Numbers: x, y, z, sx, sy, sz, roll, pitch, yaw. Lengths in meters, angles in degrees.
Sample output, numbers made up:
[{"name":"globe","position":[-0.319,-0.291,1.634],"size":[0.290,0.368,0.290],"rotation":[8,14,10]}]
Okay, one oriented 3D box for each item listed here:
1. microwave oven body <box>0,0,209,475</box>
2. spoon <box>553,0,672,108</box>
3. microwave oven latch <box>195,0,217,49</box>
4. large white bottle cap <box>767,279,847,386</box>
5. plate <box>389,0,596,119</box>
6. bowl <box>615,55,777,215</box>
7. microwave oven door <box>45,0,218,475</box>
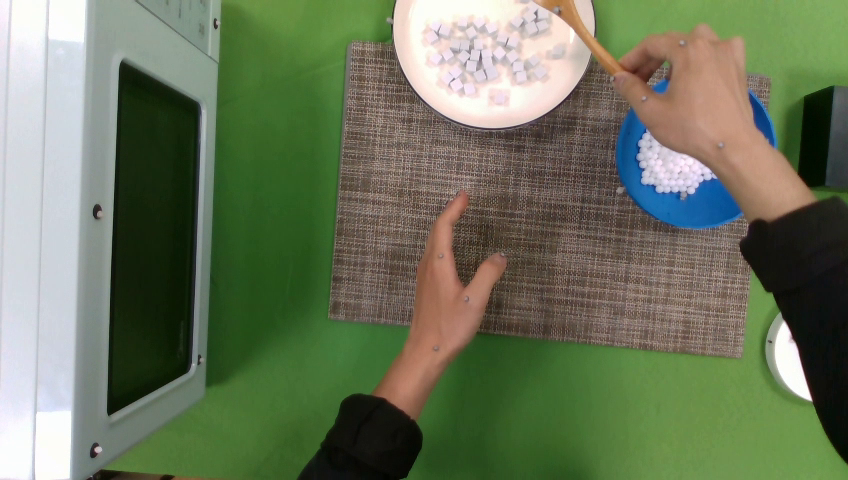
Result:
[{"name":"microwave oven body","position":[-0.386,-0.065,0.530],"size":[0.326,0.260,0.442],"rotation":[3,93,0]},{"name":"spoon","position":[0.145,-0.185,0.525],"size":[0.021,0.042,0.193],"rotation":[-37,85,-37]},{"name":"microwave oven latch","position":[-0.227,-0.237,0.616],"size":[0.030,0.029,0.079],"rotation":[3,93,0]},{"name":"large white bottle cap","position":[0.429,0.100,0.650],"size":[0.115,0.018,0.115],"rotation":[0,93,0]},{"name":"plate","position":[0.070,-0.226,0.627],"size":[0.209,0.038,0.209],"rotation":[0,90,0]},{"name":"bowl","position":[0.259,-0.099,0.609],"size":[0.151,0.077,0.151],"rotation":[0,93,1]},{"name":"microwave oven door","position":[-0.241,-0.015,0.525],"size":[0.039,0.243,0.356],"rotation":[2,93,1]}]
